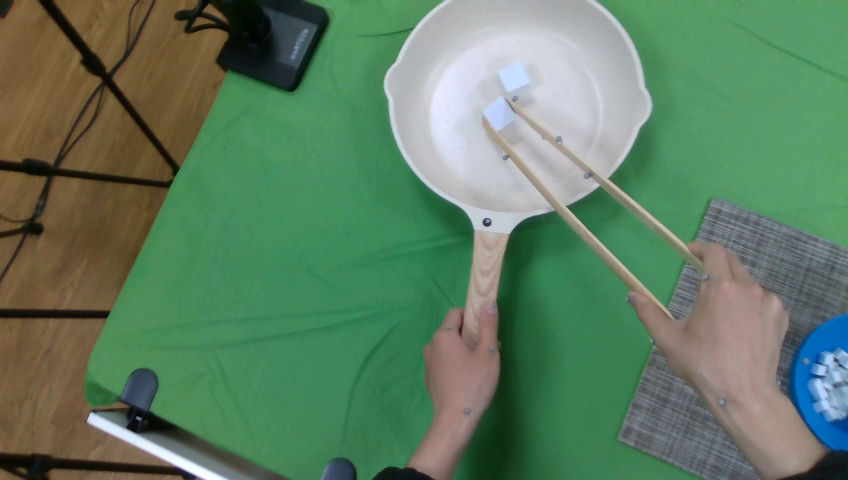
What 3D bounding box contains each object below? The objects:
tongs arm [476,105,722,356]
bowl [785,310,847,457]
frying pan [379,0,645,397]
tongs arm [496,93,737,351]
[{"bbox_3d":[0.148,-0.031,0.609,0.028,0.028,0.383,-31,51,-3],"label":"tongs arm"},{"bbox_3d":[0.442,0.148,0.627,0.151,0.077,0.151,-1,80,6],"label":"bowl"},{"bbox_3d":[0.081,-0.067,0.696,0.306,0.103,0.485,9,72,9],"label":"frying pan"},{"bbox_3d":[0.167,-0.043,0.609,0.051,0.027,0.380,-36,51,-3],"label":"tongs arm"}]
